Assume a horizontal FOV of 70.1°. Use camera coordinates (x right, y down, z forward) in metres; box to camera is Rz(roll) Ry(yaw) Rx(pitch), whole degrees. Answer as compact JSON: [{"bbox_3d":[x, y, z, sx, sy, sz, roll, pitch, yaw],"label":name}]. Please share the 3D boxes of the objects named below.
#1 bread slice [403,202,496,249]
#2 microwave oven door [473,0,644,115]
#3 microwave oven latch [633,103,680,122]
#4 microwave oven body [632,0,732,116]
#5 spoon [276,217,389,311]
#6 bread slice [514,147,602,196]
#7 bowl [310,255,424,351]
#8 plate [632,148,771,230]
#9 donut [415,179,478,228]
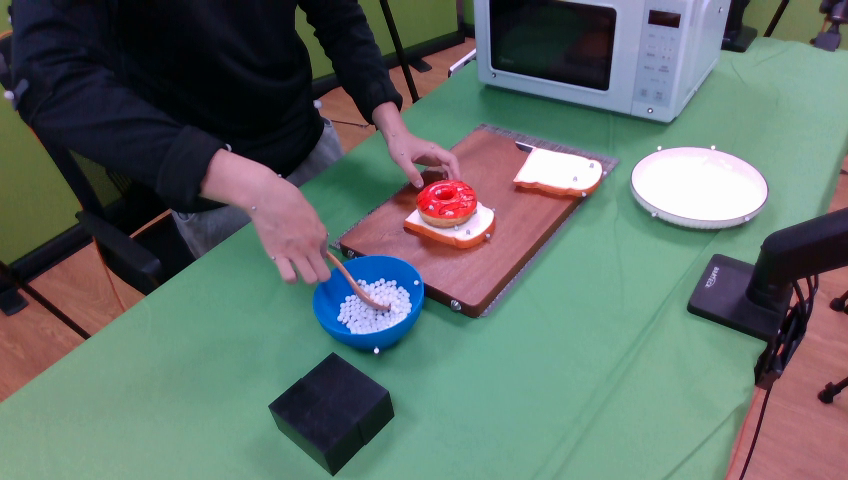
[{"bbox_3d":[0.048,-0.034,0.961,0.130,0.019,0.105,22,49,32],"label":"bread slice"},{"bbox_3d":[0.257,-0.396,1.199,0.353,0.245,0.039,21,48,29],"label":"microwave oven door"},{"bbox_3d":[0.444,-0.249,1.157,0.078,0.029,0.030,21,49,30],"label":"microwave oven latch"},{"bbox_3d":[0.377,-0.462,1.267,0.438,0.261,0.327,21,48,30],"label":"microwave oven body"},{"bbox_3d":[-0.122,0.033,0.815,0.021,0.194,0.041,-44,10,6],"label":"spoon"},{"bbox_3d":[0.232,-0.115,1.027,0.133,0.018,0.107,13,45,20],"label":"bread slice"},{"bbox_3d":[-0.071,0.097,0.821,0.151,0.077,0.150,-4,40,4],"label":"bowl"},{"bbox_3d":[0.447,-0.081,0.988,0.207,0.039,0.206,-4,40,4],"label":"plate"},{"bbox_3d":[0.036,-0.058,0.944,0.099,0.048,0.098,-5,40,4],"label":"donut"}]
